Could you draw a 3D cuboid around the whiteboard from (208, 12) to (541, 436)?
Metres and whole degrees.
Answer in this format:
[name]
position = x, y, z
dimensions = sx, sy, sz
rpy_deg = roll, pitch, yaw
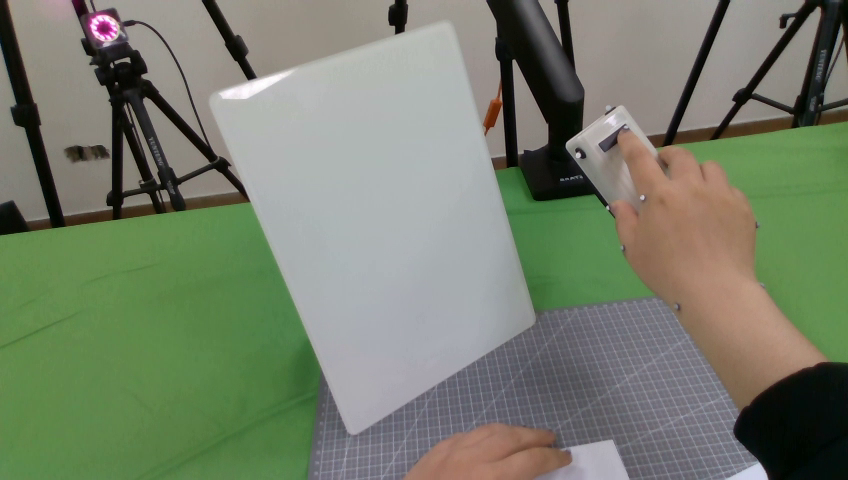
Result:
[whiteboard]
position = -0.050, -0.022, 0.574
dimensions = 0.217, 0.307, 0.143
rpy_deg = -26, 19, -23

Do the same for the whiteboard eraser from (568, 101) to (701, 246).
[whiteboard eraser]
position = 0.172, -0.054, 0.500
dimensions = 0.055, 0.112, 0.042
rpy_deg = -37, 1, -8
